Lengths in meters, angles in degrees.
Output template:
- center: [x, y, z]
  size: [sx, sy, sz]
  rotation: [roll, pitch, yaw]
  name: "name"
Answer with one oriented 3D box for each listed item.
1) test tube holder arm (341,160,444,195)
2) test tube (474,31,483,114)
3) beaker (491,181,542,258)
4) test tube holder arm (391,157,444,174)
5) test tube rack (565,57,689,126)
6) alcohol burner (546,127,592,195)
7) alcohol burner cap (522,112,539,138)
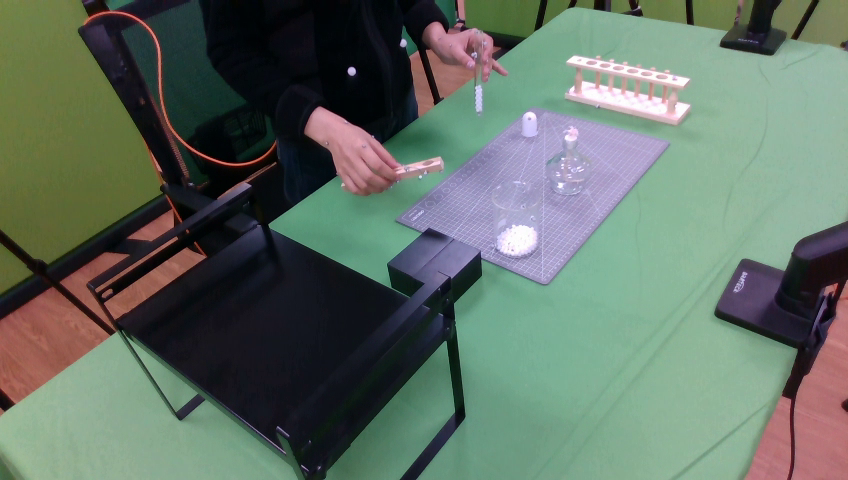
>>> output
- center: [-0.053, -0.098, 0.952]
  size: [0.178, 0.015, 0.013]
  rotation: [-14, 39, 21]
  name: "test tube holder arm"
- center: [0.098, -0.298, 1.085]
  size: [0.017, 0.151, 0.017]
  rotation: [-3, 36, 3]
  name: "test tube"
- center: [0.144, -0.030, 0.925]
  size: [0.073, 0.100, 0.084]
  rotation: [23, 48, 31]
  name: "beaker"
- center: [-0.011, -0.111, 0.940]
  size: [0.087, 0.015, 0.010]
  rotation: [-13, 39, 21]
  name: "test tube holder arm"
- center: [0.412, -0.311, 1.230]
  size: [0.240, 0.085, 0.067]
  rotation: [24, 49, 32]
  name: "test tube rack"
- center: [0.246, -0.137, 1.023]
  size: [0.078, 0.119, 0.077]
  rotation: [-4, 38, 4]
  name: "alcohol burner"
- center: [0.210, -0.230, 1.195]
  size: [0.034, 0.048, 0.033]
  rotation: [-6, 41, 6]
  name: "alcohol burner cap"
